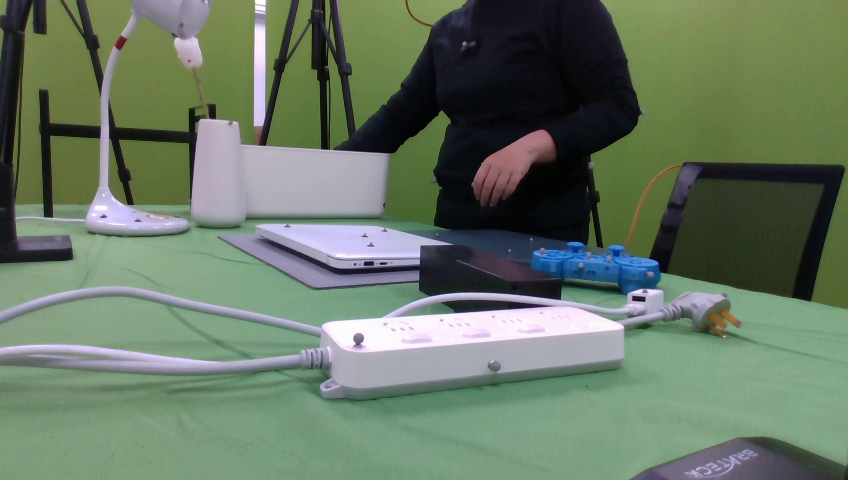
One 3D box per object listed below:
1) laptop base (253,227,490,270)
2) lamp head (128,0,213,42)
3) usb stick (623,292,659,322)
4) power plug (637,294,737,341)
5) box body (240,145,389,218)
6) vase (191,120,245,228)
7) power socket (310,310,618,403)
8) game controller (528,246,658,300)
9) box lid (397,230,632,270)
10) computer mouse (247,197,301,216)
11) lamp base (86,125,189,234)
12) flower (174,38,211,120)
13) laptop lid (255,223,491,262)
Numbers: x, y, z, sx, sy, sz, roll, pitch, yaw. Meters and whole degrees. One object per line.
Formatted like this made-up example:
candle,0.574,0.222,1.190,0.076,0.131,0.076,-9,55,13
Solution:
laptop base,-0.096,0.012,0.911,0.237,0.023,0.352,3,6,-32
lamp head,-0.423,-0.394,0.980,0.123,0.112,0.112,20,7,-3
usb stick,0.211,0.064,0.581,0.021,0.027,0.059,-2,-3,36
power plug,0.235,0.077,0.535,0.072,0.035,0.052,-34,41,-5
box body,-0.297,-0.143,1.474,0.366,0.160,0.253,-1,9,-30
vase,-0.389,-0.124,1.142,0.098,0.200,0.098,3,9,0
power socket,0.033,0.074,0.415,0.228,0.032,0.072,-1,7,-24
game controller,0.202,0.037,0.732,0.155,0.051,0.097,5,10,20
box lid,0.140,0.012,1.045,0.265,0.015,0.369,-1,9,-32
computer mouse,-0.344,-0.079,1.389,0.118,0.041,0.062,0,11,-29
lamp base,-0.497,-0.105,1.027,0.179,0.180,0.160,1,7,2
flower,-0.401,-0.207,1.141,0.038,0.361,0.044,-14,3,44
laptop lid,-0.093,0.000,0.911,0.243,0.013,0.355,1,7,-30
